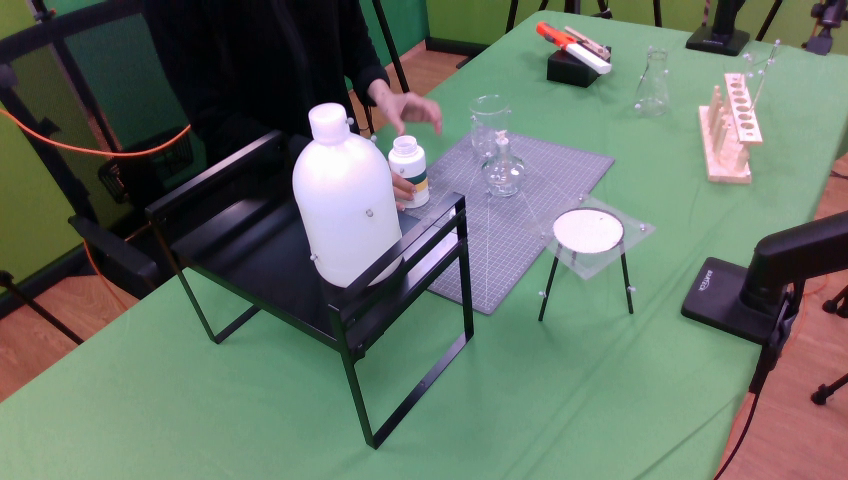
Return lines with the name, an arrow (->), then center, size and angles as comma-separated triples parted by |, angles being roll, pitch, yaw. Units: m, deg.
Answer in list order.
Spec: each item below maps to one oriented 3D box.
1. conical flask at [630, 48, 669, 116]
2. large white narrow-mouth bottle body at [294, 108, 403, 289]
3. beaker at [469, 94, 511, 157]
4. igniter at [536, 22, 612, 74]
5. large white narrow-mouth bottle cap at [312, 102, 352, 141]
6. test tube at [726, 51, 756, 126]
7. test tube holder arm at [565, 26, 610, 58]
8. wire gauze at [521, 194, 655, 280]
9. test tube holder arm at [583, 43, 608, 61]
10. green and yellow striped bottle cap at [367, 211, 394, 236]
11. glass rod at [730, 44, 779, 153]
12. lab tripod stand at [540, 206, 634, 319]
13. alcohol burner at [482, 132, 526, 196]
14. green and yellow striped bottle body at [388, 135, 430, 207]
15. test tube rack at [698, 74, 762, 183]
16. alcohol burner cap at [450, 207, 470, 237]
conical flask -> 0.456, -0.317, 1.205 | 0.075, 0.122, 0.075 | -4, 41, 4
large white narrow-mouth bottle body -> -0.082, -0.047, 0.634 | 0.102, 0.195, 0.101 | -4, 39, 4
beaker -> 0.124, -0.216, 1.148 | 0.074, 0.101, 0.083 | -21, 42, -16
igniter -> 0.330, -0.439, 1.366 | 0.057, 0.025, 0.274 | -11, 41, -20
large white narrow-mouth bottle cap -> -0.089, -0.114, 0.579 | 0.038, 0.024, 0.037 | -3, 39, 3
test tube -> 0.568, -0.268, 1.086 | 0.017, 0.151, 0.017 | -4, 46, 4
test tube holder arm -> 0.369, -0.450, 1.373 | 0.013, 0.015, 0.177 | -39, 41, 10
wire gauze -> 0.207, -0.012, 0.772 | 0.122, 0.011, 0.124 | -28, 44, -20
test tube holder arm -> 0.379, -0.420, 1.341 | 0.010, 0.015, 0.087 | -39, 41, 10
green and yellow striped bottle cap -> -0.073, -0.028, 1.021 | 0.045, 0.020, 0.045 | -6, 43, 6
glass rod -> 0.555, -0.234, 1.020 | 0.008, 0.200, 0.008 | 2, 40, -1
lab tripod stand -> 0.218, 0.034, 0.821 | 0.148, 0.132, 0.147 | -4, 42, 4
alcohol burner -> 0.137, -0.136, 1.042 | 0.078, 0.119, 0.077 | -4, 43, 4
green and yellow striped bottle body -> -0.026, -0.121, 1.041 | 0.063, 0.120, 0.063 | -4, 41, 4
test tube rack -> 0.547, -0.208, 1.095 | 0.066, 0.085, 0.242 | 5, 42, 15
alcohol burner cap -> 0.057, -0.032, 0.987 | 0.034, 0.048, 0.033 | -4, 41, 4
